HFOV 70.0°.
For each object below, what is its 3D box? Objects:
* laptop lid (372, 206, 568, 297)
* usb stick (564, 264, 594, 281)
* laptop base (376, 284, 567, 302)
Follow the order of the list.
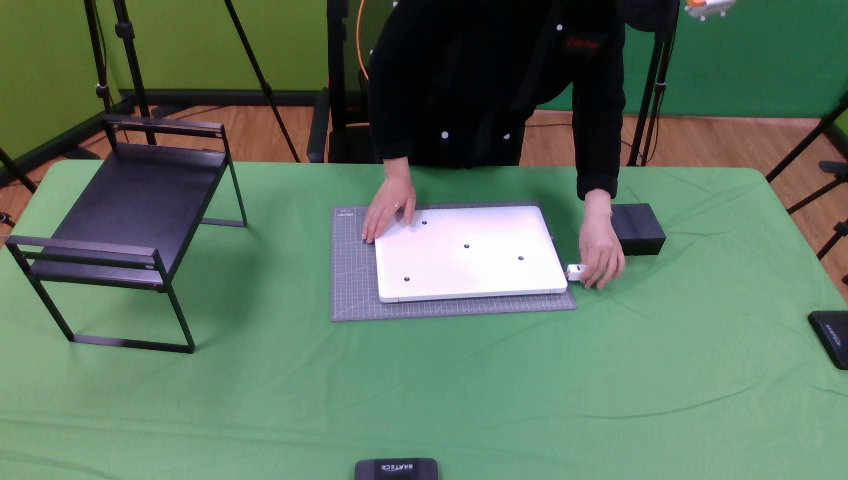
[{"bbox_3d":[0.081,0.015,1.174,0.357,0.013,0.240,-1,44,-6],"label":"laptop lid"},{"bbox_3d":[0.288,0.061,1.140,0.059,0.027,0.021,-5,40,2],"label":"usb stick"},{"bbox_3d":[0.081,0.024,1.181,0.355,0.023,0.234,-3,43,-6],"label":"laptop base"}]
